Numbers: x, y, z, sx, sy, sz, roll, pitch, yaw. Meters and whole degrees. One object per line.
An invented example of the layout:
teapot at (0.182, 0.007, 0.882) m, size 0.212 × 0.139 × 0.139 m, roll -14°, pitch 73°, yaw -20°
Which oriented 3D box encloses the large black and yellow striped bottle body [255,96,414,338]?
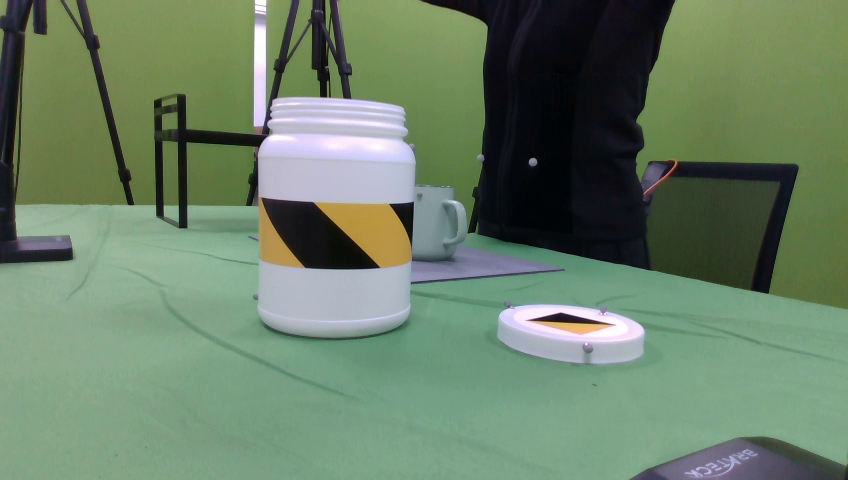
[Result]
large black and yellow striped bottle body at (-0.075, -0.022, 0.508) m, size 0.131 × 0.184 × 0.130 m, roll 2°, pitch 7°, yaw 0°

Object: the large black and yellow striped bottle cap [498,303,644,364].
large black and yellow striped bottle cap at (0.117, 0.072, 0.487) m, size 0.115 × 0.019 × 0.115 m, roll 1°, pitch 8°, yaw 0°

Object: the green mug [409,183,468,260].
green mug at (0.014, -0.026, 0.859) m, size 0.093 × 0.105 × 0.124 m, roll -4°, pitch 9°, yaw -42°
